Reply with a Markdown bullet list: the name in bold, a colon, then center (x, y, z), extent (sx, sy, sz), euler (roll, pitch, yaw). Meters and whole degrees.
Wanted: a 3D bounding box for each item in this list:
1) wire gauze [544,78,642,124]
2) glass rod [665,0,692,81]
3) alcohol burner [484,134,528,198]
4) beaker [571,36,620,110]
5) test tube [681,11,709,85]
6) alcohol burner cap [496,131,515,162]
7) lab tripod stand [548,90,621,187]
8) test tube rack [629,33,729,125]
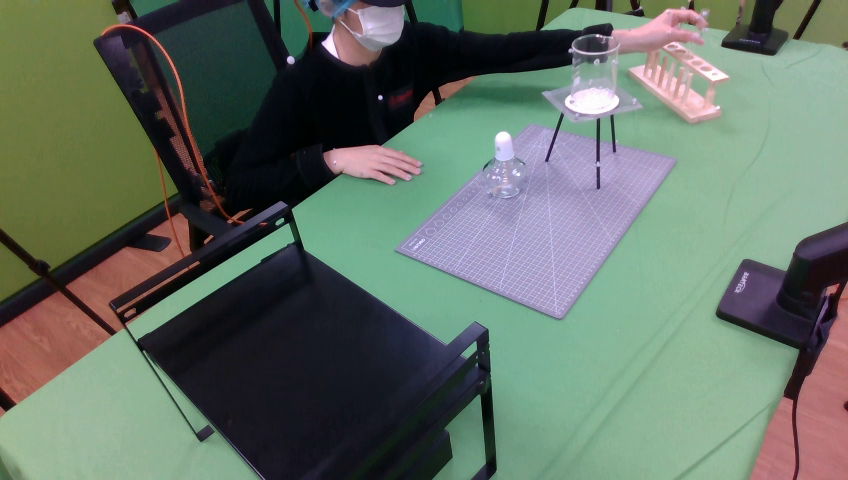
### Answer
- **wire gauze**: center (0.283, -0.234, 1.021), extent (0.125, 0.011, 0.120), euler (-17, 38, -4)
- **glass rod**: center (0.525, -0.421, 1.241), extent (0.008, 0.200, 0.008), euler (1, 41, 0)
- **alcohol burner**: center (0.141, -0.133, 1.041), extent (0.078, 0.119, 0.077), euler (-4, 42, 5)
- **beaker**: center (0.280, -0.272, 0.990), extent (0.073, 0.101, 0.084), euler (17, 47, 28)
- **test tube**: center (0.533, -0.376, 1.195), extent (0.017, 0.151, 0.017), euler (0, 44, 0)
- **alcohol burner cap**: center (0.135, -0.160, 1.019), extent (0.034, 0.048, 0.033), euler (-7, 38, 6)
- **lab tripod stand**: center (0.289, -0.184, 1.062), extent (0.148, 0.132, 0.147), euler (-6, 41, 6)
- **test tube rack**: center (0.516, -0.337, 1.247), extent (0.067, 0.085, 0.240), euler (-14, 41, -7)
